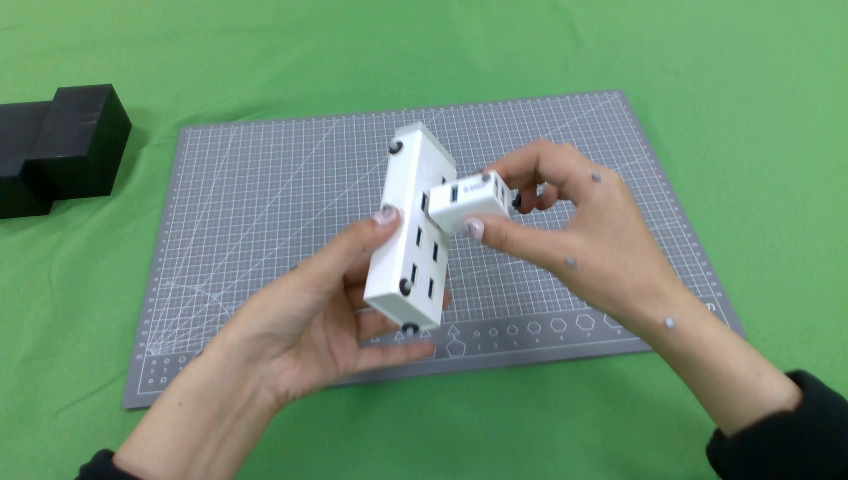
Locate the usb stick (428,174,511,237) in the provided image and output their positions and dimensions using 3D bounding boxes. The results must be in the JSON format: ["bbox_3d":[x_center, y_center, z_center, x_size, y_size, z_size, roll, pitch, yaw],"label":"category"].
[{"bbox_3d":[0.022,-0.019,0.369,0.059,0.027,0.021,-17,52,33],"label":"usb stick"}]

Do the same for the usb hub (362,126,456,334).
[{"bbox_3d":[-0.006,-0.008,0.377,0.025,0.050,0.124,-14,52,31],"label":"usb hub"}]
